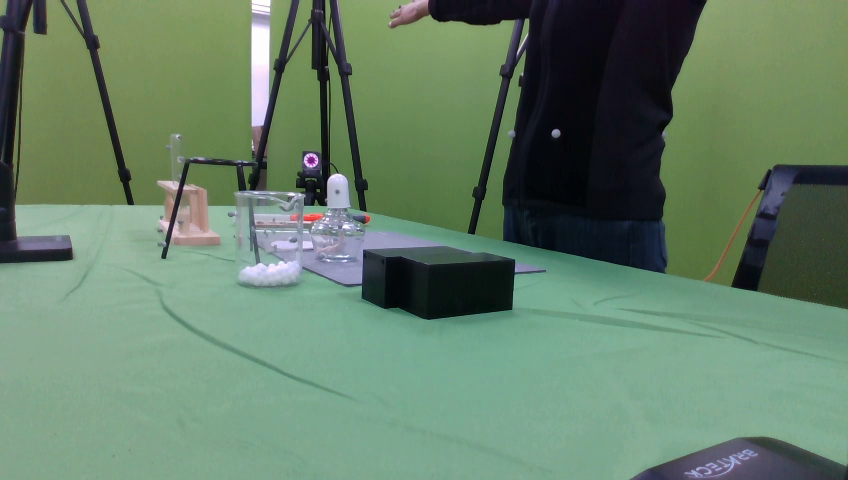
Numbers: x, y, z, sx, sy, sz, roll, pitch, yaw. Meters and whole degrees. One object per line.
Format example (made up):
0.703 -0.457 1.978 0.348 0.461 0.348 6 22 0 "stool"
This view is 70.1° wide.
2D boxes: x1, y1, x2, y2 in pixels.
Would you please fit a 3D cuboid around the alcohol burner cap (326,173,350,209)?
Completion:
-0.116 -0.065 0.808 0.034 0.048 0.034 -3 10 1 "alcohol burner cap"

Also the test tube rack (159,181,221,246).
-0.395 -0.049 1.010 0.067 0.085 0.241 -2 8 -28 "test tube rack"

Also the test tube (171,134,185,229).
-0.390 -0.092 0.963 0.017 0.150 0.017 -1 4 0 "test tube"

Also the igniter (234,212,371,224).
-0.245 -0.045 1.248 0.278 0.025 0.057 -1 -2 -25 "igniter"

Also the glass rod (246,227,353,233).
-0.224 -0.017 1.109 0.201 0.008 0.008 1 7 -27 "glass rod"

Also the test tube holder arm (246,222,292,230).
-0.291 -0.026 1.130 0.088 0.015 0.010 -1 43 -29 "test tube holder arm"

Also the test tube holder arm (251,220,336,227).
-0.253 -0.031 1.156 0.179 0.015 0.013 -2 43 -30 "test tube holder arm"

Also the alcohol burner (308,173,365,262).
-0.117 -0.030 0.813 0.078 0.119 0.078 4 9 0 "alcohol burner"

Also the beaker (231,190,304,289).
-0.166 -0.001 0.653 0.074 0.100 0.083 -4 10 -40 "beaker"

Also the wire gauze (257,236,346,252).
-0.189 0.005 0.931 0.122 0.011 0.124 1 7 -21 "wire gauze"

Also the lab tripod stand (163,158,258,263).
-0.265 -0.041 0.802 0.148 0.131 0.148 4 7 0 "lab tripod stand"
